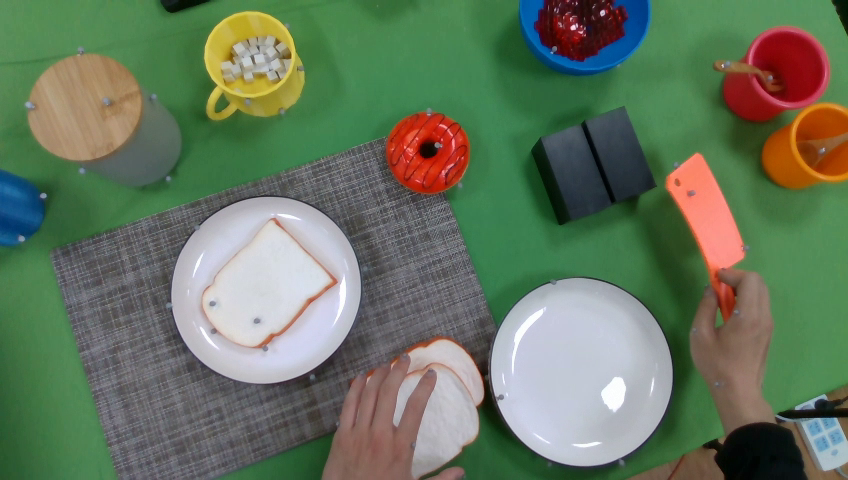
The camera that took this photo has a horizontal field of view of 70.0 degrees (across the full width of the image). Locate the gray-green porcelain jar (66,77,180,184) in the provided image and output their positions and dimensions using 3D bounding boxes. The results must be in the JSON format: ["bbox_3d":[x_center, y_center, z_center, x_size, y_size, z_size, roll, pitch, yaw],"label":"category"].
[{"bbox_3d":[-0.330,-0.121,0.650,0.106,0.126,0.105,0,83,-2],"label":"gray-green porcelain jar"}]

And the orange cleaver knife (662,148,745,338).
[{"bbox_3d":[0.322,0.001,0.671,0.077,0.012,0.211,-19,88,-25],"label":"orange cleaver knife"}]

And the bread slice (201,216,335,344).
[{"bbox_3d":[-0.181,0.052,0.680,0.105,0.019,0.131,43,82,4],"label":"bread slice"}]

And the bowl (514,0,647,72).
[{"bbox_3d":[0.175,-0.260,0.715,0.151,0.077,0.151,0,83,-2],"label":"bowl"}]

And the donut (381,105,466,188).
[{"bbox_3d":[0.000,-0.108,0.702,0.099,0.048,0.099,0,84,-3],"label":"donut"}]

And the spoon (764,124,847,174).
[{"bbox_3d":[0.485,-0.129,0.680,0.022,0.193,0.041,-13,77,-49],"label":"spoon"}]

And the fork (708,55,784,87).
[{"bbox_3d":[0.365,-0.193,0.682,0.208,0.018,0.028,-8,82,-45],"label":"fork"}]

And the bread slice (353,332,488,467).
[{"bbox_3d":[0.007,0.161,0.646,0.134,0.018,0.106,-25,81,-32],"label":"bread slice"}]

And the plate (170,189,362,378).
[{"bbox_3d":[-0.173,0.048,0.679,0.208,0.039,0.207,0,83,-3],"label":"plate"}]

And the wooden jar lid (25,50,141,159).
[{"bbox_3d":[-0.328,-0.130,0.589,0.108,0.021,0.108,0,81,-1],"label":"wooden jar lid"}]

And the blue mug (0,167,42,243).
[{"bbox_3d":[-0.489,-0.033,0.642,0.082,0.106,0.116,44,83,3],"label":"blue mug"}]

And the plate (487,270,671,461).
[{"bbox_3d":[0.173,0.140,0.689,0.209,0.038,0.208,0,83,-2],"label":"plate"}]

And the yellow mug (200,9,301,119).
[{"bbox_3d":[-0.206,-0.192,0.695,0.100,0.064,0.130,38,84,2],"label":"yellow mug"}]
